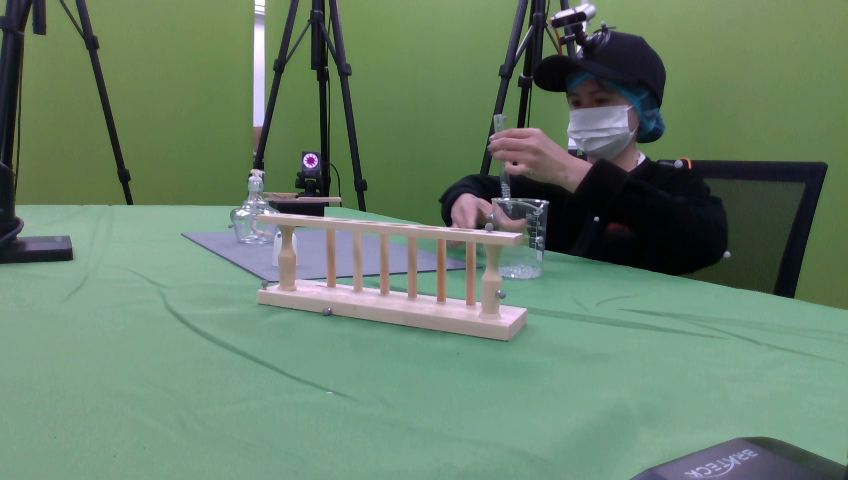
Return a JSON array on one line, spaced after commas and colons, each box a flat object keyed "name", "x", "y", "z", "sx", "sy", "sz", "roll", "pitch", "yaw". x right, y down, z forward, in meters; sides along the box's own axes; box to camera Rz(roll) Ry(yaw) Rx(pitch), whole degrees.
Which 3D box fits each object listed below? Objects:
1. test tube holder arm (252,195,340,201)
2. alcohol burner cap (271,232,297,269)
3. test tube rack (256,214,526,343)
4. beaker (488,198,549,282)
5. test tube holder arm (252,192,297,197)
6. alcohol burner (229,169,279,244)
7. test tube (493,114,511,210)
[{"name": "test tube holder arm", "x": -0.260, "y": -0.087, "z": 1.242, "sx": 0.179, "sy": 0.013, "sz": 0.015, "roll": -1, "pitch": 7, "yaw": -25}, {"name": "alcohol burner cap", "x": -0.175, "y": 0.012, "z": 0.760, "sx": 0.034, "sy": 0.048, "sz": 0.034, "roll": 2, "pitch": 8, "yaw": 0}, {"name": "test tube rack", "x": -0.032, "y": 0.027, "z": 0.547, "sx": 0.241, "sy": 0.085, "sz": 0.067, "roll": 6, "pitch": 7, "yaw": 22}, {"name": "beaker", "x": 0.120, "y": -0.001, "z": 0.768, "sx": 0.074, "sy": 0.100, "sz": 0.083, "roll": -1, "pitch": 9, "yaw": -25}, {"name": "test tube holder arm", "x": -0.301, "y": -0.092, "z": 1.223, "sx": 0.088, "sy": 0.010, "sz": 0.015, "roll": 0, "pitch": 7, "yaw": -25}, {"name": "alcohol burner", "x": -0.268, "y": -0.053, "z": 0.958, "sx": 0.078, "sy": 0.119, "sz": 0.078, "roll": 2, "pitch": 5, "yaw": 0}, {"name": "test tube", "x": 0.122, "y": -0.122, "z": 0.947, "sx": 0.017, "sy": 0.150, "sz": 0.017, "roll": -6, "pitch": 1, "yaw": 0}]
